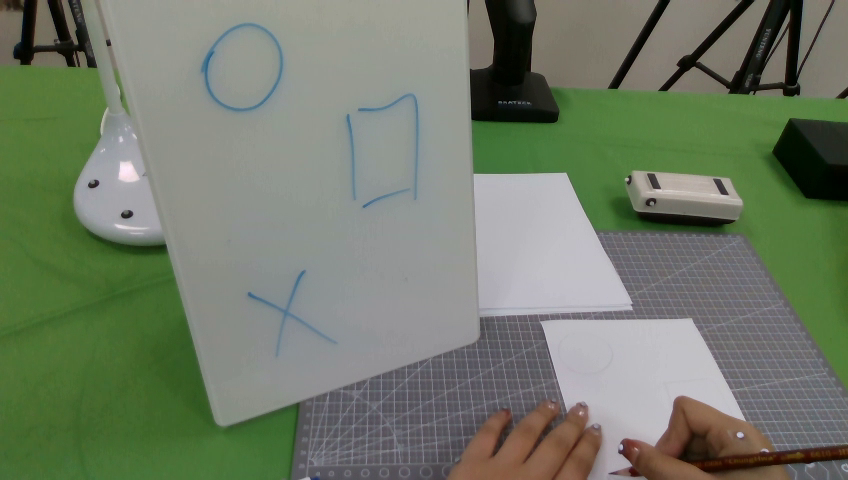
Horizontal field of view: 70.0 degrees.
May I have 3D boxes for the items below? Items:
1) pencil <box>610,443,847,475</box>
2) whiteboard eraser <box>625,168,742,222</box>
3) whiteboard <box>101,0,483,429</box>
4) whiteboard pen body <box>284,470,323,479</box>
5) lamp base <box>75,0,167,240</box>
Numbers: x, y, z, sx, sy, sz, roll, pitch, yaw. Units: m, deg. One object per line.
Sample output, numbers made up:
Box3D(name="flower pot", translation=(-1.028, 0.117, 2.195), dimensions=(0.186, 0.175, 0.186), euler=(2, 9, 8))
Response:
Box3D(name="pencil", translation=(0.195, 0.132, 0.365), dimensions=(0.012, 0.194, 0.012), euler=(21, 57, -36))
Box3D(name="whiteboard eraser", translation=(0.281, -0.049, 0.663), dimensions=(0.113, 0.042, 0.055), euler=(5, 43, -1))
Box3D(name="whiteboard", translation=(-0.087, -0.051, 0.466), dimensions=(0.218, 0.307, 0.142), euler=(-14, 27, -20))
Box3D(name="whiteboard pen body", translation=(-0.132, 0.174, 0.380), dimensions=(0.141, 0.017, 0.017), euler=(-12, 45, -21))
Box3D(name="lamp base", translation=(-0.268, -0.118, 0.567), dimensions=(0.178, 0.182, 0.160), euler=(29, 47, 27))
